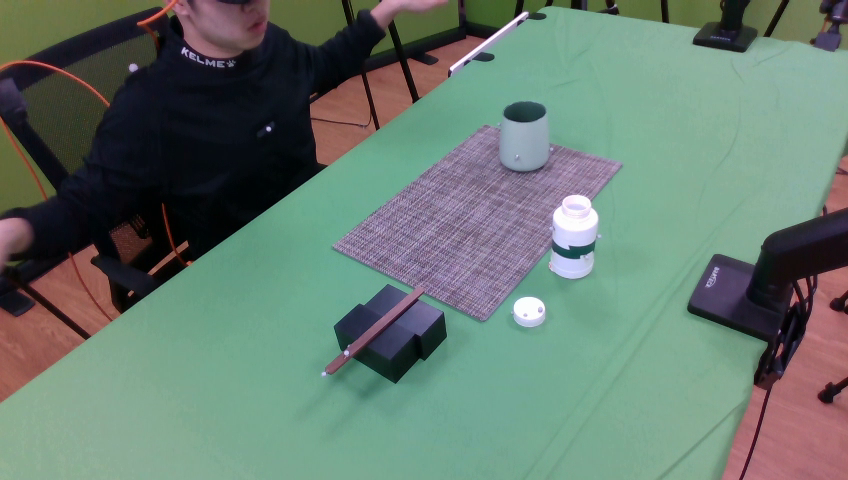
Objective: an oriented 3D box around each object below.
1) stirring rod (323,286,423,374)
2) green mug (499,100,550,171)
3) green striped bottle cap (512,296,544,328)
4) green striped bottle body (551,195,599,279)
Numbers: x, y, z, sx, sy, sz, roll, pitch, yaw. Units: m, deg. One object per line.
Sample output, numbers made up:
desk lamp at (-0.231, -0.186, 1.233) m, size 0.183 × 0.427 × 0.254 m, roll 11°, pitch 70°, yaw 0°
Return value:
stirring rod at (-0.062, 0.113, 0.781) m, size 0.014 × 0.006 × 0.177 m, roll 26°, pitch 50°, yaw 33°
green mug at (0.183, -0.197, 1.101) m, size 0.092 × 0.105 × 0.125 m, roll -1°, pitch 41°, yaw 8°
green striped bottle cap at (0.144, 0.099, 0.837) m, size 0.044 × 0.020 × 0.044 m, roll -1°, pitch 43°, yaw 2°
green striped bottle body at (0.217, -0.006, 0.870) m, size 0.063 × 0.120 × 0.063 m, roll -4°, pitch 41°, yaw 4°
